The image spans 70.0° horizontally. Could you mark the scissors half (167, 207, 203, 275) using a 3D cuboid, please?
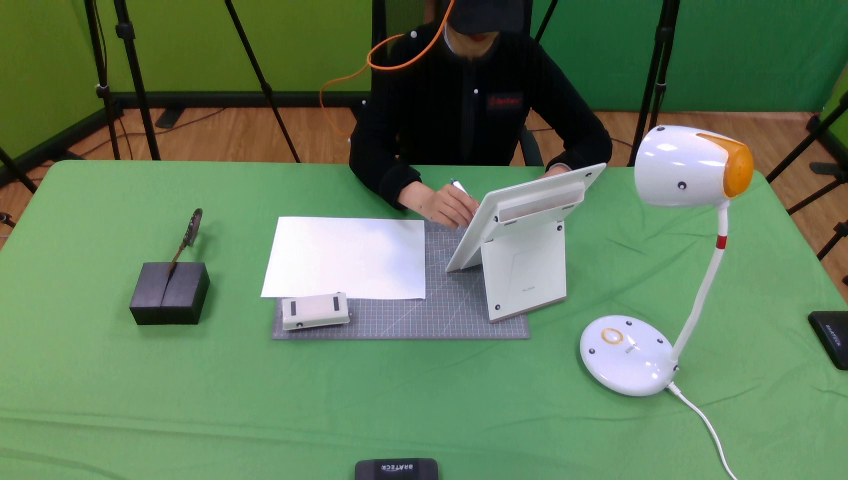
[{"bbox_3d":[-0.436,0.000,1.104,0.013,0.040,0.174,21,44,-14],"label":"scissors half"}]

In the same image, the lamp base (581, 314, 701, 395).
[{"bbox_3d":[0.361,0.144,0.973,0.178,0.181,0.160,34,53,23],"label":"lamp base"}]

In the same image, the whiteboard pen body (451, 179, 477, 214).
[{"bbox_3d":[0.087,-0.061,1.098,0.017,0.017,0.140,-19,54,-21],"label":"whiteboard pen body"}]

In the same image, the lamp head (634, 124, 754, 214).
[{"bbox_3d":[0.351,-0.089,0.776,0.112,0.113,0.122,-30,30,-28],"label":"lamp head"}]

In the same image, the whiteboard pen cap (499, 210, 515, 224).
[{"bbox_3d":[0.170,-0.047,1.247,0.033,0.018,0.018,25,48,-2],"label":"whiteboard pen cap"}]

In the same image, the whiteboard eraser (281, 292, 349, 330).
[{"bbox_3d":[-0.189,0.124,1.045,0.113,0.042,0.055,-6,46,-10],"label":"whiteboard eraser"}]

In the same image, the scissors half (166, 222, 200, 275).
[{"bbox_3d":[-0.444,0.015,1.116,0.013,0.040,0.174,16,27,-10],"label":"scissors half"}]

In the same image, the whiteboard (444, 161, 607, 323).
[{"bbox_3d":[0.186,0.025,1.029,0.217,0.306,0.143,-14,68,-18],"label":"whiteboard"}]
